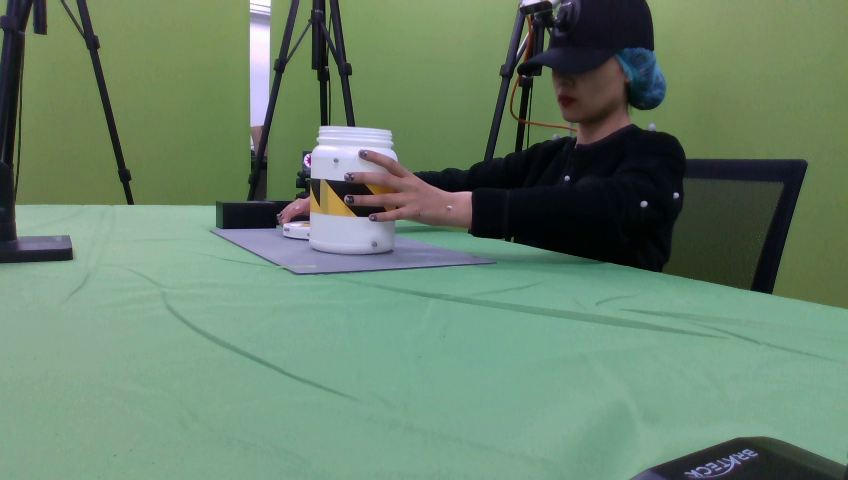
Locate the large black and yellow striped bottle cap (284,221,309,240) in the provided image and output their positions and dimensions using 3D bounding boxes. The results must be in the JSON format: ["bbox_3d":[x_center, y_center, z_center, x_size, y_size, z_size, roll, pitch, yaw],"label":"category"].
[{"bbox_3d":[-0.186,-0.018,1.052,0.115,0.019,0.115,1,9,0],"label":"large black and yellow striped bottle cap"}]

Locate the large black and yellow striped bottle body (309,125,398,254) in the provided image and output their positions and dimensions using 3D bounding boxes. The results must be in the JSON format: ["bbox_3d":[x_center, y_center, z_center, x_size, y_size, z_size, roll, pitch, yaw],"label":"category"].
[{"bbox_3d":[-0.107,-0.077,0.915,0.131,0.184,0.130,3,8,0],"label":"large black and yellow striped bottle body"}]
